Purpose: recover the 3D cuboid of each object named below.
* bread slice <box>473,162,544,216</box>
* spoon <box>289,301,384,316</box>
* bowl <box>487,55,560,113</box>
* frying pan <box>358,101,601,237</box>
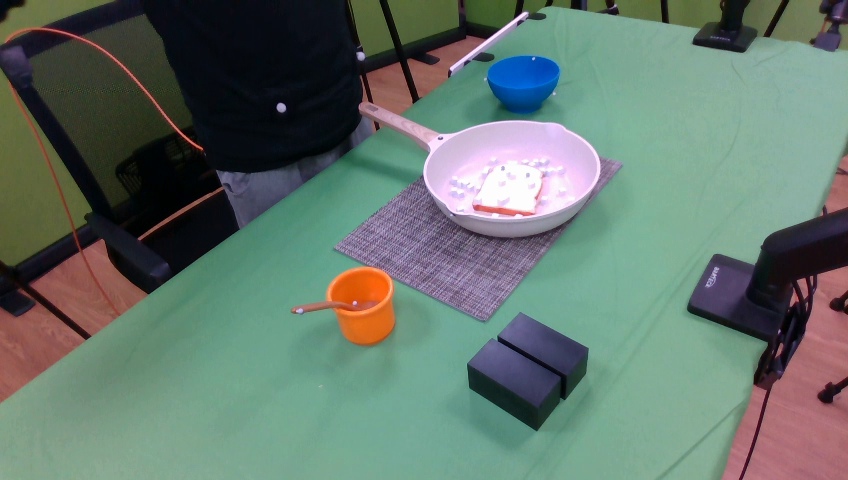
[{"bbox_3d":[0.150,-0.088,1.041,0.106,0.018,0.134,7,44,16],"label":"bread slice"},{"bbox_3d":[-0.112,0.087,0.785,0.041,0.195,0.021,14,89,27],"label":"spoon"},{"bbox_3d":[0.208,-0.319,1.266,0.151,0.077,0.150,-4,41,4],"label":"bowl"},{"bbox_3d":[0.067,-0.153,1.067,0.484,0.103,0.308,32,52,26],"label":"frying pan"}]
